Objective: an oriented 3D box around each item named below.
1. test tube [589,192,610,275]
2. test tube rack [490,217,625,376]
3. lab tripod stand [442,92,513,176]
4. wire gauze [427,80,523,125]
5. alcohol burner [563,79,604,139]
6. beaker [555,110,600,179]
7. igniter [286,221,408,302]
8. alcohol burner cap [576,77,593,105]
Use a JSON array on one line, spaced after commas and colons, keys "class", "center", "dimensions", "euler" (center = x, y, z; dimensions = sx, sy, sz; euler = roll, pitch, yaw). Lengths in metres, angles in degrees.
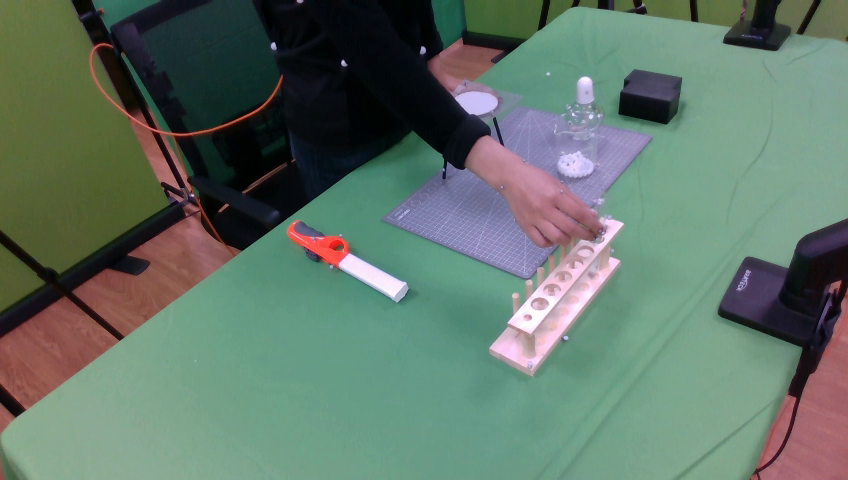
[{"class": "test tube", "center": [0.236, -0.005, 0.817], "dimensions": [0.017, 0.151, 0.017], "euler": [-4, 45, 5]}, {"class": "test tube rack", "center": [0.184, 0.064, 0.822], "dimensions": [0.066, 0.085, 0.243], "euler": [24, 50, 33]}, {"class": "lab tripod stand", "center": [0.097, -0.189, 1.095], "dimensions": [0.148, 0.132, 0.147], "euler": [-4, 39, 4]}, {"class": "wire gauze", "center": [0.088, -0.238, 1.049], "dimensions": [0.120, 0.011, 0.125], "euler": [22, 49, 30]}, {"class": "alcohol burner", "center": [0.304, -0.252, 1.146], "dimensions": [0.078, 0.119, 0.077], "euler": [-4, 41, 4]}, {"class": "beaker", "center": [0.266, -0.164, 1.061], "dimensions": [0.084, 0.101, 0.073], "euler": [-24, 42, -15]}, {"class": "igniter", "center": [-0.133, 0.028, 0.968], "dimensions": [0.274, 0.025, 0.057], "euler": [26, 61, 35]}, {"class": "alcohol burner cap", "center": [0.297, -0.279, 1.123], "dimensions": [0.034, 0.048, 0.033], "euler": [-9, 42, 8]}]
